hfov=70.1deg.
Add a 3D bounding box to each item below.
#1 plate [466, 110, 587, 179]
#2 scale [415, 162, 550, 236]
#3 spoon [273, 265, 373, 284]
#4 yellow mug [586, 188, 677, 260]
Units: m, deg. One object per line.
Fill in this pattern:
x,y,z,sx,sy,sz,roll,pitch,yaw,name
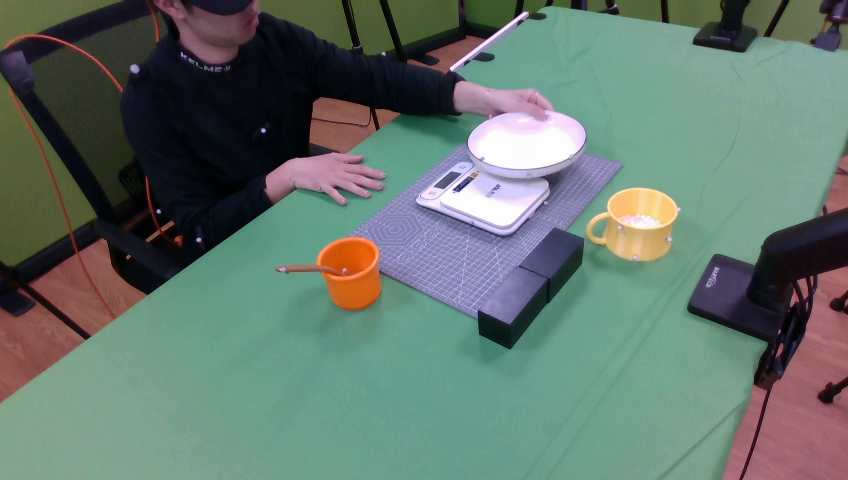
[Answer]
0.178,-0.165,1.062,0.209,0.038,0.208,-6,38,5,plate
0.099,-0.079,1.035,0.199,0.032,0.149,23,48,31,scale
-0.136,0.045,0.839,0.041,0.195,0.021,18,91,33,spoon
0.311,-0.022,0.916,0.131,0.064,0.099,-8,40,0,yellow mug
